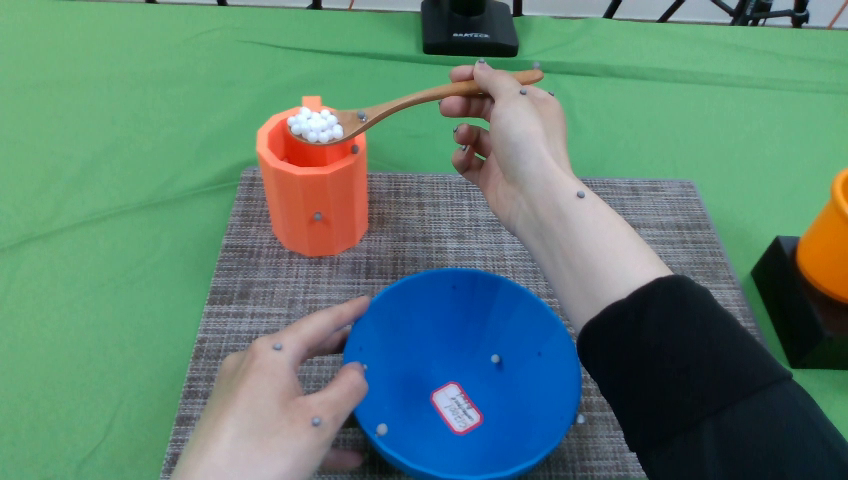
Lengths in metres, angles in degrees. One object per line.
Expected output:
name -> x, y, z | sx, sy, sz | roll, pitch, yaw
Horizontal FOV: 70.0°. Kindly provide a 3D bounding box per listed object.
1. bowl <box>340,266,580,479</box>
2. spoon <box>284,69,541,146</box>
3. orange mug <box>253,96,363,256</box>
bowl -> 0.020, 0.099, 0.406 | 0.151, 0.077, 0.150 | 3, 48, -3
spoon -> -0.009, -0.101, 0.449 | 0.193, 0.022, 0.041 | -14, 44, 6
orange mug -> -0.098, -0.063, 0.525 | 0.083, 0.101, 0.125 | -5, 54, -9
